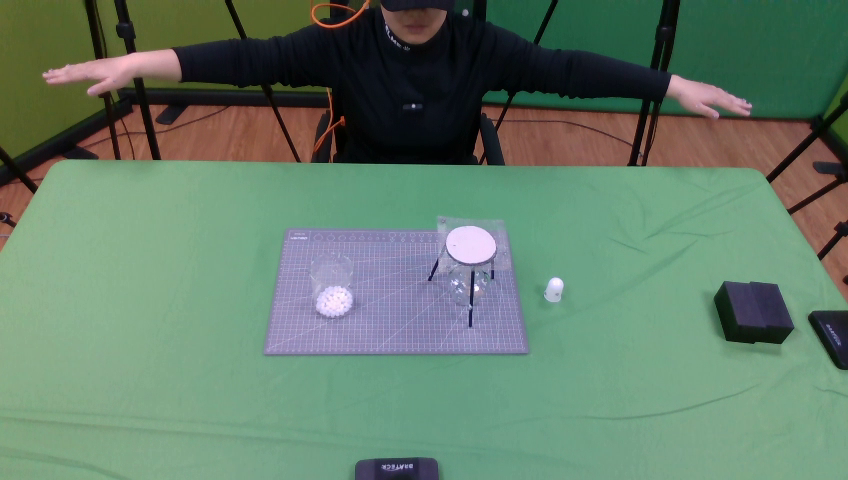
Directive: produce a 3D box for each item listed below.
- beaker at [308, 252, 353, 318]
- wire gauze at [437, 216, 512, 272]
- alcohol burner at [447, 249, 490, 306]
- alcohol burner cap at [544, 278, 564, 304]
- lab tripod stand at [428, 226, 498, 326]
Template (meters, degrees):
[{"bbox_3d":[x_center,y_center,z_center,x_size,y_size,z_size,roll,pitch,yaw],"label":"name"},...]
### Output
[{"bbox_3d":[-0.159,0.080,1.052,0.074,0.101,0.083,11,45,6],"label":"beaker"},{"bbox_3d":[0.083,0.006,1.025,0.121,0.011,0.124,2,47,-4],"label":"wire gauze"},{"bbox_3d":[0.079,0.062,1.078,0.078,0.120,0.077,1,45,-1],"label":"alcohol burner"},{"bbox_3d":[0.241,0.090,1.117,0.034,0.048,0.033,2,45,-2],"label":"alcohol burner cap"},{"bbox_3d":[0.079,0.056,1.070,0.148,0.132,0.147,3,47,-3],"label":"lab tripod stand"}]
